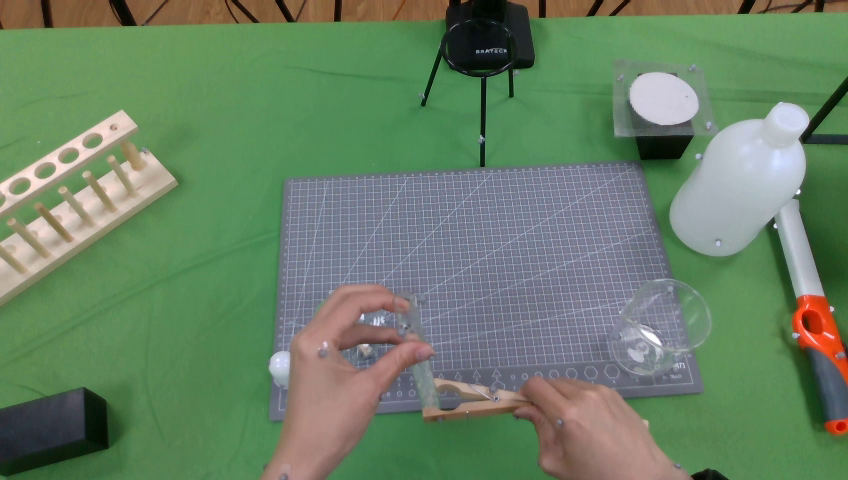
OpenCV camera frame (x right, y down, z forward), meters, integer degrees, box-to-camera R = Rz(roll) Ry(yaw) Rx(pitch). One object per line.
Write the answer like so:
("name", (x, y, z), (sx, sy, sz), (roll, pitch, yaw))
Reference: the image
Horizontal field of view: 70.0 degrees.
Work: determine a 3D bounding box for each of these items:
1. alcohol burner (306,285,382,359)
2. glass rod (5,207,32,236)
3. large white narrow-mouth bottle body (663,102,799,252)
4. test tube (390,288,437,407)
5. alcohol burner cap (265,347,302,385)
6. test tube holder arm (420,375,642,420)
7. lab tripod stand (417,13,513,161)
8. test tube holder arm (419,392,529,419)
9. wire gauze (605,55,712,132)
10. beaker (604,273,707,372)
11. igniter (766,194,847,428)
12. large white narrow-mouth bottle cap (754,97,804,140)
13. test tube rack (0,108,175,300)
("alcohol burner", (-0.081, 0.076, 0.608), (0.078, 0.120, 0.077), (1, 60, -2))
("glass rod", (-0.451, -0.062, 0.621), (0.008, 0.201, 0.008), (2, 53, -2))
("large white narrow-mouth bottle body", (0.335, -0.072, 0.649), (0.102, 0.196, 0.101), (0, 61, 0))
("test tube", (-0.006, 0.087, 0.448), (0.017, 0.152, 0.017), (-5, 47, 6))
("alcohol burner cap", (-0.145, 0.127, 0.620), (0.034, 0.048, 0.033), (0, 63, 1))
("test tube holder arm", (0.085, 0.127, 0.489), (0.178, 0.015, 0.013), (6, 61, 4))
("lab tripod stand", (0.059, -0.194, 0.746), (0.148, 0.132, 0.147), (1, 63, -2))
("test tube holder arm", (0.040, 0.131, 0.487), (0.088, 0.015, 0.010), (-9, 60, -4))
("wire gauze", (0.289, -0.183, 0.757), (0.121, 0.011, 0.124), (4, 61, 2))
("beaker", (0.225, 0.088, 0.612), (0.084, 0.101, 0.073), (2, 61, 2))
("igniter", (0.422, 0.068, 0.670), (0.057, 0.025, 0.274), (7, 61, -9))
("large white narrow-mouth bottle cap", (0.335, -0.115, 0.573), (0.038, 0.024, 0.037), (0, 61, 0))
("test tube rack", (-0.417, -0.039, 0.684), (0.242, 0.086, 0.066), (-40, 69, -20))
